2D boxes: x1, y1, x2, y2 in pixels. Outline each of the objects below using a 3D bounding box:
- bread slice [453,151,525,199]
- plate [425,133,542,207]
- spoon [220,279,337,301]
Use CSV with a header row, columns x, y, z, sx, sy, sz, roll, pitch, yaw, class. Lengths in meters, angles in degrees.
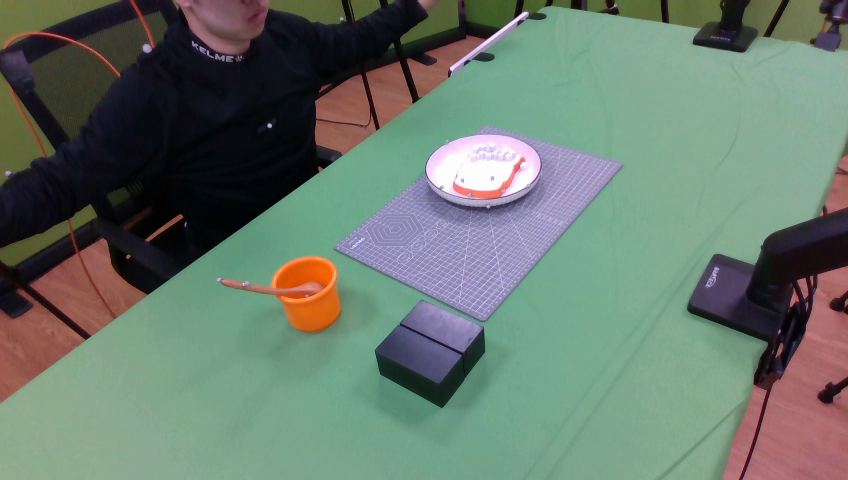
x,y,z,sx,sy,sz,roll,pitch,yaw,class
0.112,-0.118,1.079,0.104,0.019,0.131,11,42,21,bread slice
0.106,-0.121,1.079,0.209,0.038,0.208,-4,41,4,plate
-0.189,0.068,0.813,0.041,0.021,0.195,32,14,36,spoon
